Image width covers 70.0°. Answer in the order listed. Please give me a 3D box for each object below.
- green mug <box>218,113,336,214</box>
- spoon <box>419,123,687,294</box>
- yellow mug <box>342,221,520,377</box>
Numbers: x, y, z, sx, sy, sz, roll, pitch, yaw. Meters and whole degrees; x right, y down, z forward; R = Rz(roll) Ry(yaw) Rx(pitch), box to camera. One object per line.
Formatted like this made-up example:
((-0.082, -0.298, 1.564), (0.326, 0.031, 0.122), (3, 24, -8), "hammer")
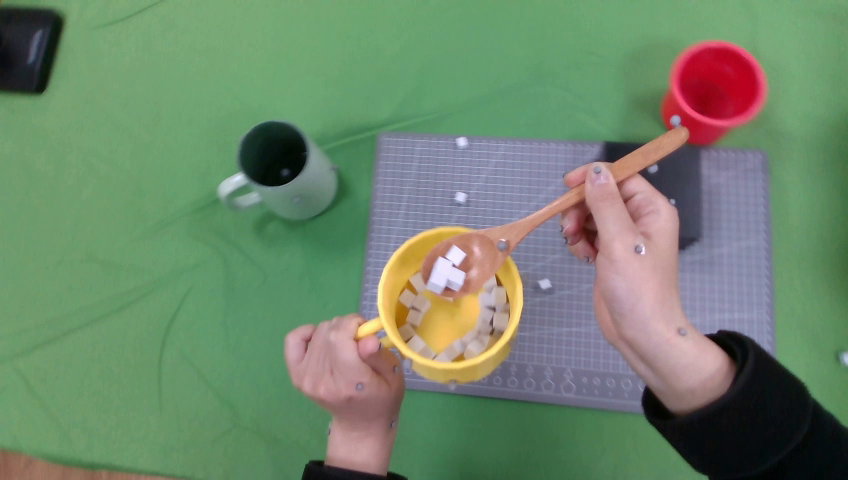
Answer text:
((-0.167, -0.076, 0.674), (0.125, 0.105, 0.092), (-27, 77, -2), "green mug")
((0.083, -0.022, 0.390), (0.194, 0.022, 0.041), (-30, 75, 7), "spoon")
((0.003, 0.050, 0.435), (0.131, 0.064, 0.099), (-22, 69, -3), "yellow mug")
